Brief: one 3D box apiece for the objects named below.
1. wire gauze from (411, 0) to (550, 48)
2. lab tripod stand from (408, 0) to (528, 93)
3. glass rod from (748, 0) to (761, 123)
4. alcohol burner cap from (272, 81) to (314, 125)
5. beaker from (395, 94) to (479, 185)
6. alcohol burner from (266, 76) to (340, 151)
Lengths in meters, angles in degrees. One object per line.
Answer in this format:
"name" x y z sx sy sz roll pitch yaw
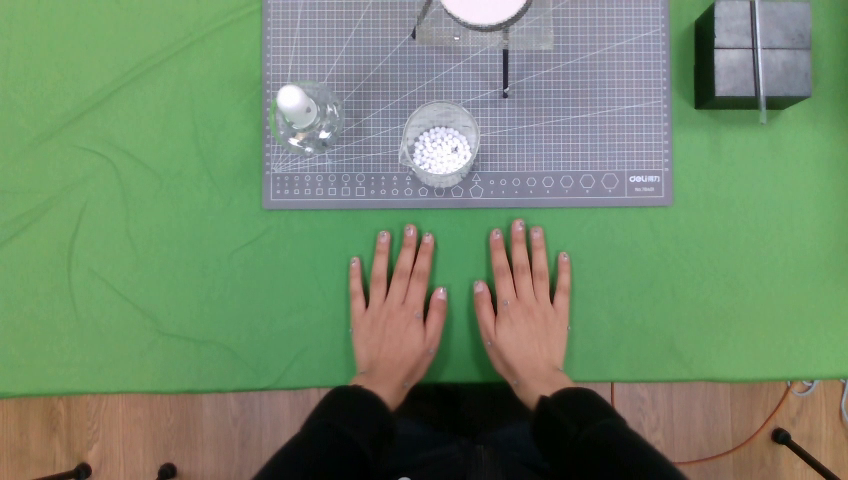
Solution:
"wire gauze" 0.050 -0.232 0.539 0.125 0.011 0.121 0 88 0
"lab tripod stand" 0.054 -0.233 0.606 0.148 0.131 0.148 0 86 1
"glass rod" 0.339 -0.219 0.623 0.008 0.008 0.199 -2 89 0
"alcohol burner cap" -0.126 -0.132 0.577 0.034 0.048 0.034 -1 82 4
"beaker" 0.012 -0.095 0.618 0.084 0.100 0.074 -28 87 0
"alcohol burner" -0.125 -0.131 0.612 0.078 0.119 0.078 0 89 0
